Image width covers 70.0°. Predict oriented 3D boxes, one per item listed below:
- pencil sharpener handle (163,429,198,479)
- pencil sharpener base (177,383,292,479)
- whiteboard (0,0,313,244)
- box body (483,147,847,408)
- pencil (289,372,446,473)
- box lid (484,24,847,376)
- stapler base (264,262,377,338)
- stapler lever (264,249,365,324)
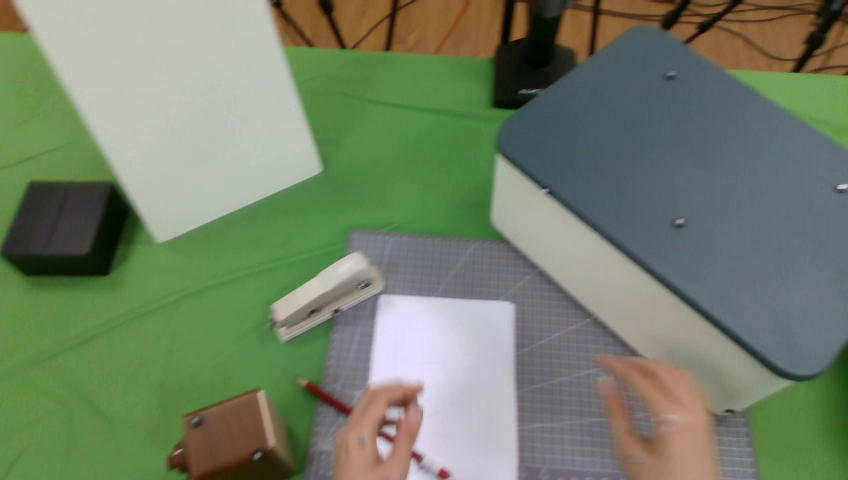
[{"bbox_3d":[-0.220,0.198,0.539,0.031,0.068,0.035,-18,47,-11],"label":"pencil sharpener handle"},{"bbox_3d":[-0.174,0.186,0.562,0.077,0.108,0.061,-18,62,-11],"label":"pencil sharpener base"},{"bbox_3d":[-0.293,-0.190,0.703,0.217,0.308,0.142,-27,44,-15],"label":"whiteboard"},{"bbox_3d":[0.269,-0.030,0.663,0.254,0.161,0.361,-39,67,-22],"label":"box body"},{"bbox_3d":[-0.062,0.183,0.620,0.193,0.012,0.012,27,62,16],"label":"pencil"},{"bbox_3d":[0.268,-0.070,0.600,0.263,0.015,0.368,-39,68,-22],"label":"box lid"},{"bbox_3d":[-0.117,0.061,0.683,0.130,0.024,0.041,-28,59,-13],"label":"stapler base"},{"bbox_3d":[-0.119,0.049,0.662,0.118,0.040,0.026,-28,59,-13],"label":"stapler lever"}]
